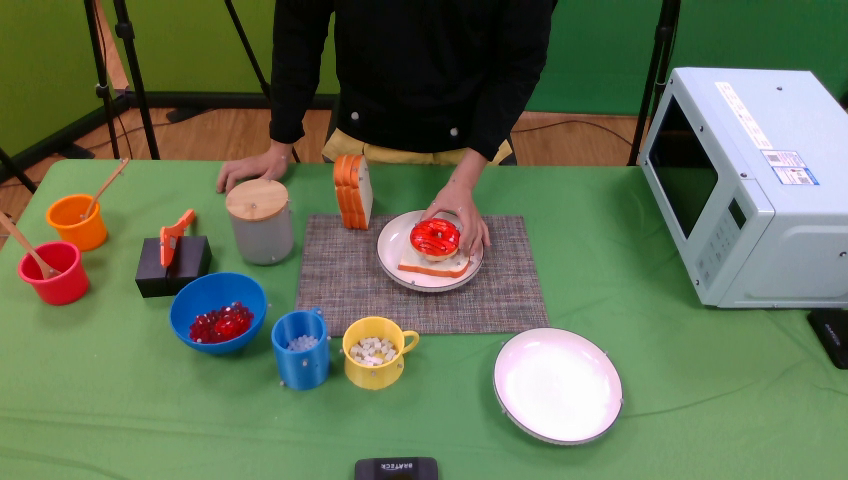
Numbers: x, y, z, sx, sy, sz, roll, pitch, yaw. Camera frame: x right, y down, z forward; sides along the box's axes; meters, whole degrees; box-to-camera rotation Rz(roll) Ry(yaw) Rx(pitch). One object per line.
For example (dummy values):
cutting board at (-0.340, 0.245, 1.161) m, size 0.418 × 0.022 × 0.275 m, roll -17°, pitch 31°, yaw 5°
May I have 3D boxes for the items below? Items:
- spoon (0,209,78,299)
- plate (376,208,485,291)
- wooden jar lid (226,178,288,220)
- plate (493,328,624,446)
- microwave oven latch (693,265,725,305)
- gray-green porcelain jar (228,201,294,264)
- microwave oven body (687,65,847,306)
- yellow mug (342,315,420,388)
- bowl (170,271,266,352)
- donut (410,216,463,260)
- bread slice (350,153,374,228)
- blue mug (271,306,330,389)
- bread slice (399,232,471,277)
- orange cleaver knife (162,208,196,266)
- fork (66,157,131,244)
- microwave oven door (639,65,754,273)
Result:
spoon at (-0.668, 0.021, 1.040) m, size 0.041 × 0.021 × 0.194 m, roll -41°, pitch 105°, yaw -29°
plate at (0.012, 0.022, 1.159) m, size 0.209 × 0.038 × 0.208 m, roll 1°, pitch 46°, yaw -1°
wooden jar lid at (-0.296, -0.070, 1.081) m, size 0.108 × 0.021 × 0.107 m, roll 1°, pitch 45°, yaw -1°
plate at (0.213, 0.236, 0.974) m, size 0.208 × 0.039 × 0.206 m, roll 2°, pitch 46°, yaw -2°
microwave oven latch at (0.523, 0.081, 1.115) m, size 0.030 × 0.029 × 0.078 m, roll 2°, pitch 46°, yaw -1°
gray-green porcelain jar at (-0.299, -0.027, 1.126) m, size 0.106 × 0.127 × 0.105 m, roll 2°, pitch 46°, yaw -2°
microwave oven body at (0.669, -0.111, 1.176) m, size 0.326 × 0.261 × 0.439 m, roll 0°, pitch 46°, yaw -3°
yellow mug at (-0.068, 0.177, 0.990) m, size 0.131 × 0.064 × 0.099 m, roll -15°, pitch 50°, yaw -19°
bowl at (-0.333, 0.132, 1.006) m, size 0.151 × 0.077 × 0.150 m, roll 2°, pitch 46°, yaw -2°
donut at (0.023, -0.005, 1.126) m, size 0.099 × 0.048 × 0.098 m, roll 2°, pitch 45°, yaw -2°
bread slice at (-0.124, -0.103, 1.207) m, size 0.018 × 0.135 × 0.106 m, roll -1°, pitch 47°, yaw 7°
blue mug at (-0.188, 0.163, 0.969) m, size 0.082 × 0.106 × 0.116 m, roll 15°, pitch 47°, yaw 10°
bread slice at (0.025, 0.025, 1.161) m, size 0.131 × 0.019 × 0.104 m, roll 7°, pitch 47°, yaw 7°
orange cleaver knife at (-0.454, -0.010, 1.129) m, size 0.012 × 0.077 × 0.210 m, roll -1°, pitch 17°, yaw -6°
fork at (-0.608, -0.074, 1.132) m, size 0.207 × 0.019 × 0.028 m, roll -52°, pitch 48°, yaw 10°
microwave oven door at (0.522, -0.147, 1.193) m, size 0.039 × 0.245 × 0.353 m, roll 0°, pitch 47°, yaw -3°
